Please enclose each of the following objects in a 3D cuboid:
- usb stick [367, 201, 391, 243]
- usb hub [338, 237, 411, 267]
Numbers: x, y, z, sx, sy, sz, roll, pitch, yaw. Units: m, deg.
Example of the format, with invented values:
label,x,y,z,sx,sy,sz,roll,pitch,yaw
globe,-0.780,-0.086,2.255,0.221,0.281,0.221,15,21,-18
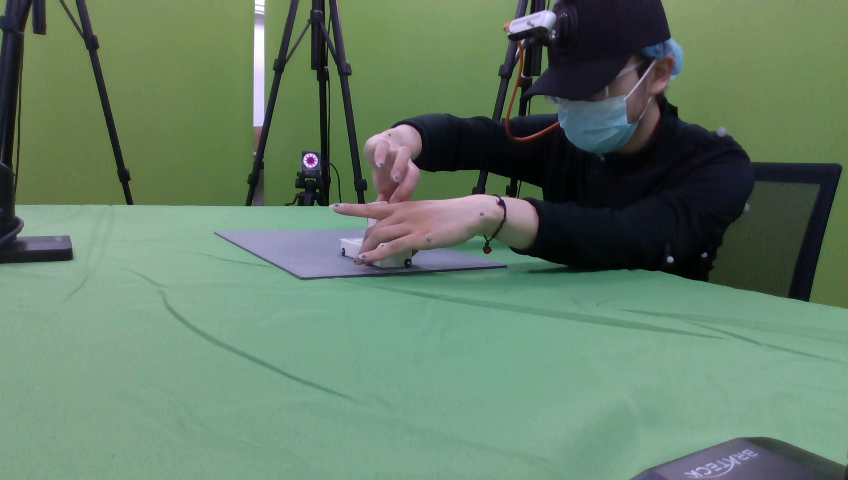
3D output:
label,x,y,z,sx,sy,sz,roll,pitch,yaw
usb stick,-0.062,-0.024,0.839,0.027,0.059,0.021,-7,9,-31
usb hub,-0.071,0.015,0.832,0.050,0.025,0.124,-3,8,-34
